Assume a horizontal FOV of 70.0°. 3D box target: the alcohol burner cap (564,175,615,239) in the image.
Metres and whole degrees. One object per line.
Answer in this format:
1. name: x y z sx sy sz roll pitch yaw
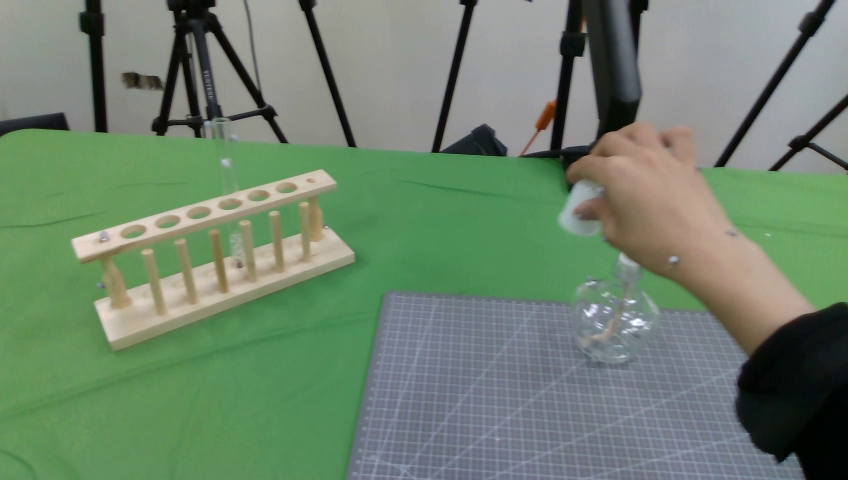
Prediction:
1. alcohol burner cap: 0.130 -0.028 0.468 0.034 0.048 0.033 5 43 -5

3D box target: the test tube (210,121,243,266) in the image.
1. test tube: -0.189 -0.041 0.586 0.017 0.151 0.017 2 29 -1

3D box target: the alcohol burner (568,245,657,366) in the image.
1. alcohol burner: 0.167 0.052 0.528 0.078 0.120 0.077 2 37 -1

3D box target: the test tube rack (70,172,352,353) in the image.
1. test tube rack: -0.195 0.014 0.594 0.243 0.086 0.066 -21 41 -29
